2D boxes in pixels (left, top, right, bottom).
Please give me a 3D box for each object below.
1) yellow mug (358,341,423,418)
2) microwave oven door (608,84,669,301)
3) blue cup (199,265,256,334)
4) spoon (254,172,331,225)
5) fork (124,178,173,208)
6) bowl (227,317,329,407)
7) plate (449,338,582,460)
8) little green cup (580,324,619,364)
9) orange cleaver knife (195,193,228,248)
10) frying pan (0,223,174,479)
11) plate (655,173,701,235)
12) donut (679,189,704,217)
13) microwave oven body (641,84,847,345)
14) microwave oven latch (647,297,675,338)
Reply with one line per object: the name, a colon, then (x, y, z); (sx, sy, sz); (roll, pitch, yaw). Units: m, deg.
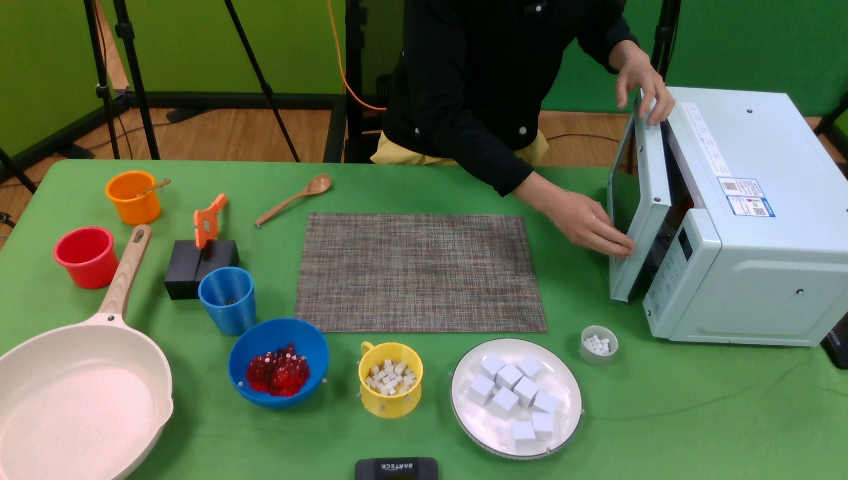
yellow mug: (-0.063, 0.210, 0.961); (0.100, 0.064, 0.130); (-29, 54, -27)
microwave oven door: (0.397, -0.099, 1.139); (0.039, 0.245, 0.354); (9, 47, 5)
blue cup: (-0.321, 0.107, 1.014); (0.093, 0.101, 0.092); (2, 48, -2)
spoon: (-0.272, -0.087, 1.257); (0.041, 0.022, 0.193); (45, 57, 12)
fork: (-0.525, -0.090, 1.154); (0.207, 0.019, 0.028); (-17, 27, 45)
bowl: (-0.222, 0.203, 0.947); (0.151, 0.077, 0.150); (2, 46, -2)
plate: (0.141, 0.251, 0.956); (0.208, 0.039, 0.206); (2, 47, -2)
little green cup: (0.296, 0.179, 1.031); (0.061, 0.039, 0.061); (2, 45, -2)
orange cleaver knife: (-0.406, -0.041, 1.163); (0.012, 0.077, 0.210); (0, 18, -3)
frying pan: (-0.505, 0.169, 0.941); (0.307, 0.103, 0.485); (5, 54, -1)
plate: (0.555, -0.052, 1.187); (0.209, 0.038, 0.208); (2, 46, -2)
donut: (0.546, -0.062, 1.175); (0.099, 0.048, 0.098); (-1, 44, 1)
microwave oven body: (0.568, -0.054, 1.116); (0.326, 0.261, 0.439); (2, 46, -1)
microwave oven latch: (0.413, 0.133, 1.060); (0.030, 0.029, 0.078); (5, 46, 2)
